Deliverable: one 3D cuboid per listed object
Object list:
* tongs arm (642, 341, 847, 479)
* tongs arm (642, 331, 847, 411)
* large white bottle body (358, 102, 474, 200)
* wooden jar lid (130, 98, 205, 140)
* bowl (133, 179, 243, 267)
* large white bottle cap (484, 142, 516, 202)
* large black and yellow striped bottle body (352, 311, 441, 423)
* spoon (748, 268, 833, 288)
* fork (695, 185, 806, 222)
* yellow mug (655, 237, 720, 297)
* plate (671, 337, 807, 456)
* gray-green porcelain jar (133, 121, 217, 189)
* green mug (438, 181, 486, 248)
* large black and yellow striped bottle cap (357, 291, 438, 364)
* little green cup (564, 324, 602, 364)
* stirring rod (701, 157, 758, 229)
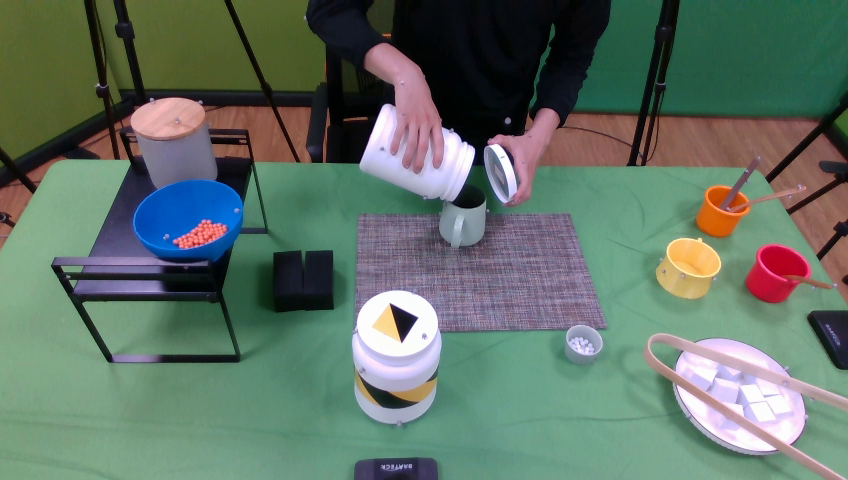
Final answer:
[{"bbox_3d":[0.504,0.278,0.918,0.386,0.028,0.028,34,59,22],"label":"tongs arm"},{"bbox_3d":[0.546,0.227,0.968,0.384,0.026,0.050,22,52,13],"label":"tongs arm"},{"bbox_3d":[-0.014,-0.155,1.099,0.185,0.131,0.130,22,46,-10],"label":"large white bottle body"},{"bbox_3d":[-0.393,-0.183,0.934,0.108,0.021,0.107,3,43,-2],"label":"wooden jar lid"},{"bbox_3d":[-0.339,-0.013,0.895,0.151,0.077,0.150,2,46,-2],"label":"bowl"},{"bbox_3d":[0.143,-0.128,1.151,0.018,0.115,0.114,-20,50,-9],"label":"large white bottle cap"},{"bbox_3d":[-0.042,0.177,0.913,0.131,0.185,0.130,2,46,-2],"label":"large black and yellow striped bottle body"},{"bbox_3d":[0.660,0.068,1.097,0.041,0.193,0.021,-4,91,-6],"label":"spoon"},{"bbox_3d":[0.658,-0.074,1.230,0.207,0.019,0.028,-23,36,37],"label":"fork"},{"bbox_3d":[0.509,0.041,1.167,0.099,0.064,0.130,24,48,18],"label":"yellow mug"},{"bbox_3d":[0.503,0.254,0.984,0.208,0.039,0.206,2,46,-2],"label":"plate"},{"bbox_3d":[-0.397,-0.141,0.980,0.106,0.127,0.105,2,47,-2],"label":"gray-green porcelain jar"},{"bbox_3d":[0.071,-0.039,1.178,0.092,0.105,0.124,12,47,7],"label":"green mug"},{"bbox_3d":[-0.037,0.121,0.851,0.115,0.019,0.114,2,46,-1],"label":"large black and yellow striped bottle cap"},{"bbox_3d":[0.269,0.179,1.035,0.061,0.039,0.061,2,46,-2],"label":"little green cup"},{"bbox_3d":[0.634,-0.097,1.257,0.014,0.006,0.176,38,97,29],"label":"stirring rod"}]
